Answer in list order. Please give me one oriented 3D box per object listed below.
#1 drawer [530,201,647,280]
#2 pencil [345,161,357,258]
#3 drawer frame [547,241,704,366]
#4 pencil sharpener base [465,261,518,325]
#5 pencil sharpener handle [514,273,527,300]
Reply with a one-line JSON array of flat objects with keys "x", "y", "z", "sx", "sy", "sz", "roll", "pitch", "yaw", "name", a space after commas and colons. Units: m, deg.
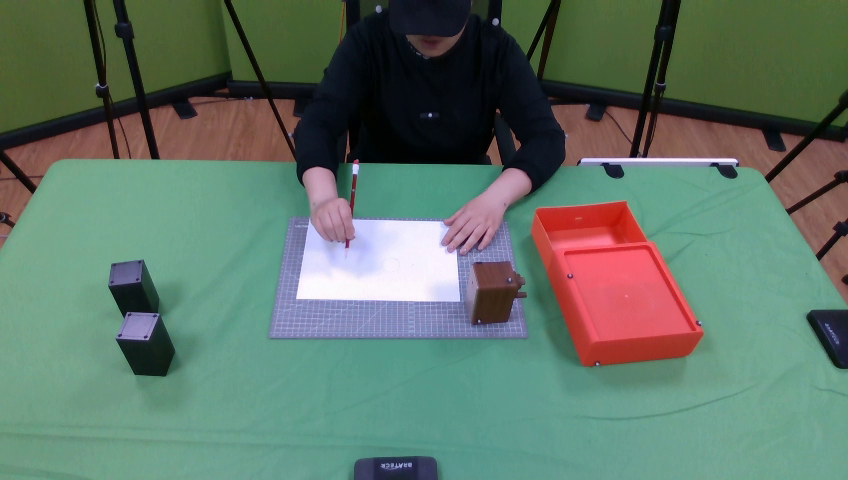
[{"x": 0.329, "y": 0.024, "z": 1.159, "sx": 0.195, "sy": 0.073, "sz": 0.210, "roll": -5, "pitch": 46, "yaw": -9, "name": "drawer"}, {"x": -0.138, "y": -0.059, "z": 1.139, "sx": 0.012, "sy": 0.012, "sz": 0.193, "roll": 3, "pitch": 74, "yaw": -1, "name": "pencil"}, {"x": 0.348, "y": 0.106, "z": 1.077, "sx": 0.202, "sy": 0.083, "sz": 0.212, "roll": -4, "pitch": 47, "yaw": -9, "name": "drawer frame"}, {"x": 0.117, "y": 0.093, "z": 1.052, "sx": 0.077, "sy": 0.107, "sz": 0.061, "roll": -3, "pitch": 46, "yaw": -7, "name": "pencil sharpener base"}, {"x": 0.169, "y": 0.081, "z": 1.051, "sx": 0.031, "sy": 0.068, "sz": 0.035, "roll": -3, "pitch": 48, "yaw": -7, "name": "pencil sharpener handle"}]
